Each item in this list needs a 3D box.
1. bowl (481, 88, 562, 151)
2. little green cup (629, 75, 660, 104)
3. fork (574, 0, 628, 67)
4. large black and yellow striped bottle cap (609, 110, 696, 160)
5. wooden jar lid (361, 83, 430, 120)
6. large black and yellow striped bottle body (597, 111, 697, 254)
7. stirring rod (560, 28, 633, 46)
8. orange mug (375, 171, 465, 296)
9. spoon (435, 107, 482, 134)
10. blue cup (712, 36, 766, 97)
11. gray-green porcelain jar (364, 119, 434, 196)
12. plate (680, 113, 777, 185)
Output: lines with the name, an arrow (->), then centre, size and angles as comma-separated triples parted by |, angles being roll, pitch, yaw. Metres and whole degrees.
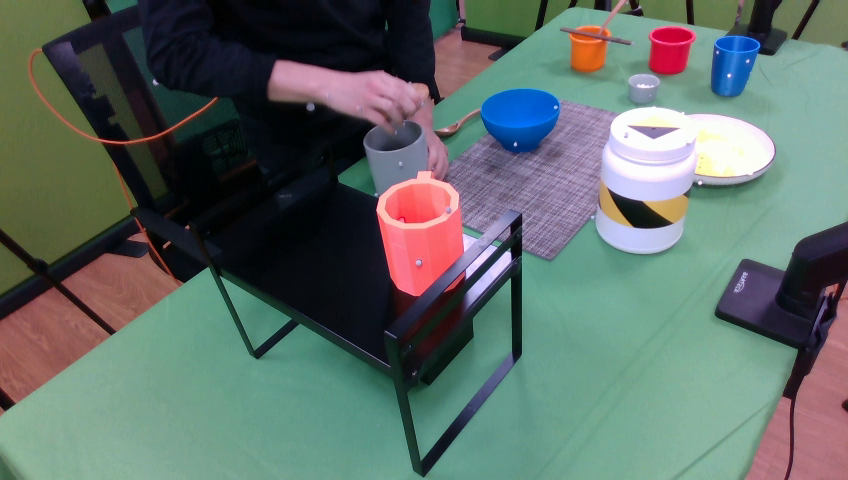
bowl -> 0.187, -0.223, 1.162 | 0.151, 0.077, 0.150 | -4, 40, 4
little green cup -> 0.457, -0.314, 1.260 | 0.061, 0.039, 0.061 | -4, 40, 4
fork -> 0.413, -0.481, 1.377 | 0.207, 0.019, 0.028 | -56, 43, 12
large black and yellow striped bottle cap -> 0.319, -0.149, 0.849 | 0.115, 0.019, 0.114 | -4, 39, 3
wooden jar lid -> -0.043, -0.215, 0.942 | 0.108, 0.021, 0.108 | -9, 33, 7
large black and yellow striped bottle body -> 0.331, -0.086, 0.904 | 0.131, 0.185, 0.130 | -5, 41, 4
stirring rod -> 0.382, -0.453, 1.345 | 0.174, 0.006, 0.014 | 26, 53, 33
orange mug -> 0.000, -0.016, 0.661 | 0.083, 0.101, 0.125 | -2, 45, 8
spoon -> 0.100, -0.260, 1.268 | 0.194, 0.022, 0.041 | -34, 28, -27
blue cup -> 0.628, -0.350, 1.227 | 0.092, 0.100, 0.092 | -4, 39, 4
gray-green porcelain jar -> -0.040, -0.129, 1.053 | 0.106, 0.127, 0.105 | -7, 39, 7
plate -> 0.506, -0.158, 1.073 | 0.209, 0.038, 0.208 | -4, 40, 4
